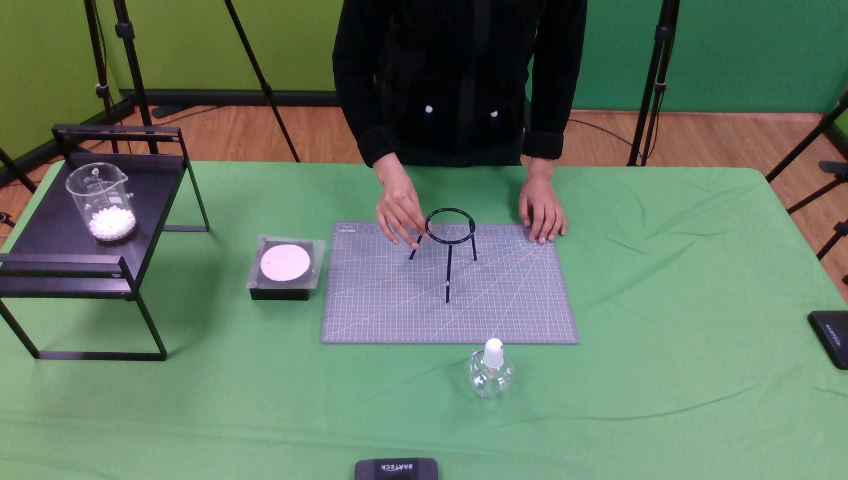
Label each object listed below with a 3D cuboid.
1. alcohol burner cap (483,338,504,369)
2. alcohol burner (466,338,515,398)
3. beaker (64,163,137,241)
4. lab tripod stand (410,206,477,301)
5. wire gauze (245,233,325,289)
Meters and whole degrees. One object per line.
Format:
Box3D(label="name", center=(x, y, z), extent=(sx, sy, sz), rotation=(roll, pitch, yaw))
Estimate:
Box3D(label="alcohol burner cap", center=(0.108, 0.170, 0.927), extent=(0.034, 0.048, 0.033), rotation=(-1, 41, 1))
Box3D(label="alcohol burner", center=(0.106, 0.195, 0.952), extent=(0.078, 0.120, 0.077), rotation=(0, 45, 0))
Box3D(label="beaker", center=(-0.478, -0.055, 0.910), extent=(0.084, 0.101, 0.073), rotation=(-9, 48, -13))
Box3D(label="lab tripod stand", center=(0.039, 0.015, 1.101), extent=(0.148, 0.132, 0.147), rotation=(1, 47, -1))
Box3D(label="wire gauze", center=(-0.245, 0.038, 1.081), extent=(0.121, 0.011, 0.124), rotation=(5, 47, -3))
